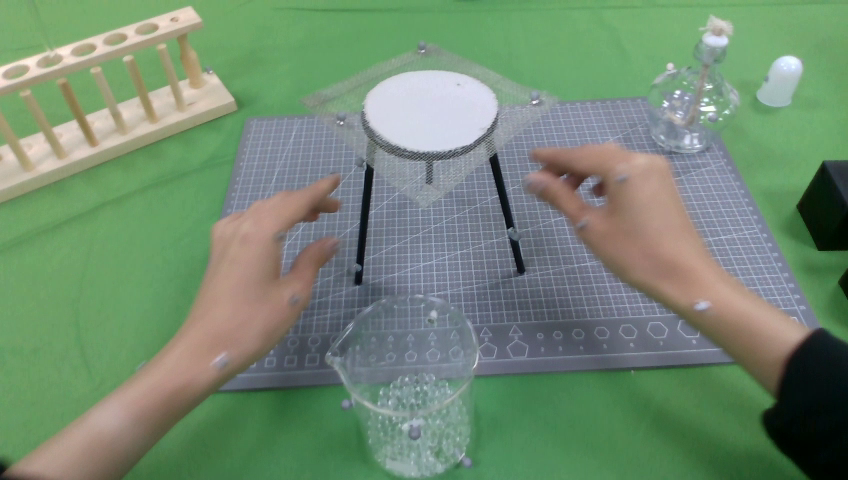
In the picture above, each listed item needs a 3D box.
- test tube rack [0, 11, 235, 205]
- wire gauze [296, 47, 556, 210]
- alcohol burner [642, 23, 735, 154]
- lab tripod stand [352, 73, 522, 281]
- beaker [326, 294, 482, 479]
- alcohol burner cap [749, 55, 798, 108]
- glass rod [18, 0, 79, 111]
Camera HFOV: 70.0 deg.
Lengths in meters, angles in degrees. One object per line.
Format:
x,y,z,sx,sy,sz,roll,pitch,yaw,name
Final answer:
-0.313,-0.124,0.565,0.242,0.086,0.066,-27,53,-20,test tube rack
0.001,-0.083,0.388,0.121,0.011,0.124,-36,57,-26,wire gauze
0.233,-0.134,0.523,0.078,0.120,0.077,-1,51,1,alcohol burner
0.007,-0.041,0.440,0.148,0.133,0.147,0,48,1,lab tripod stand
-0.009,0.091,0.355,0.084,0.101,0.073,-1,49,3,beaker
0.342,-0.156,0.588,0.034,0.048,0.033,-1,48,1,alcohol burner cap
-0.325,-0.168,0.515,0.008,0.201,0.008,2,49,-2,glass rod
